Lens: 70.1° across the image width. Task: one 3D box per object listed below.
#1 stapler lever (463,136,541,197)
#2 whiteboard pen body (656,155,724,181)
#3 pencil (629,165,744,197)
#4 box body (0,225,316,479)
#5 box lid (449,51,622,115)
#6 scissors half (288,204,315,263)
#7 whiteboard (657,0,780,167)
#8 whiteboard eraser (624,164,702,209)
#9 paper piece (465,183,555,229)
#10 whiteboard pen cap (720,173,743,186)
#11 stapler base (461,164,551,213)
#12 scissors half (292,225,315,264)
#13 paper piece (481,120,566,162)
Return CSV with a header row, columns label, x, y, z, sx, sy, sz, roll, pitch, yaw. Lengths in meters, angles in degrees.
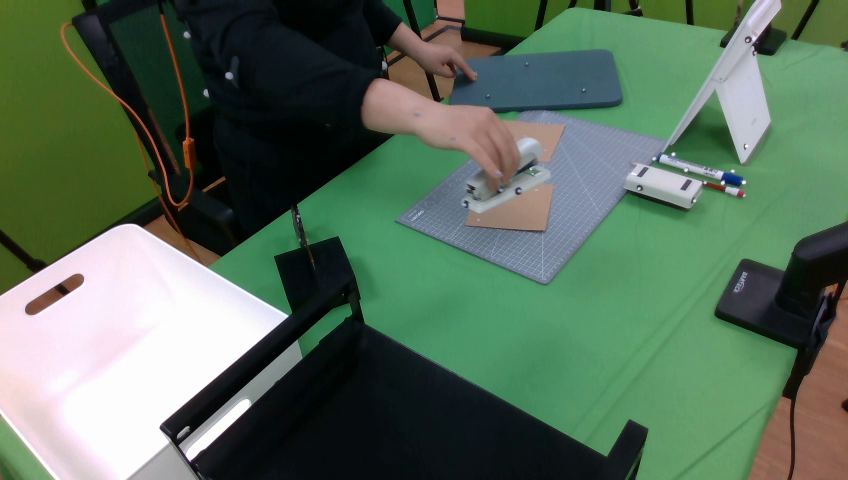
label,x,y,z,sx,sy,sz,roll,pitch,yaw
stapler lever,0.101,-0.096,0.776,0.118,0.040,0.026,-29,32,-23
whiteboard pen body,0.475,-0.123,1.052,0.139,0.017,0.017,24,49,32
pencil,0.447,-0.103,1.038,0.192,0.012,0.012,21,48,29
box body,-0.339,0.162,0.728,0.361,0.161,0.255,23,48,31
box lid,0.250,-0.358,1.370,0.371,0.015,0.262,-1,40,9
scissors half,-0.191,-0.010,0.944,0.013,0.040,0.173,-17,38,-15
whiteboard,0.571,-0.272,1.038,0.143,0.306,0.218,37,54,17
whiteboard eraser,0.396,-0.087,1.003,0.112,0.042,0.056,22,47,31
paper piece,0.149,-0.062,1.035,0.137,0.009,0.136,5,38,16
whiteboard pen cap,0.519,-0.103,1.020,0.033,0.018,0.018,23,49,30
stapler base,0.108,-0.076,0.790,0.131,0.024,0.041,-29,32,-23
scissors half,-0.188,0.007,0.954,0.013,0.040,0.174,-21,22,-12
paper piece,0.197,-0.199,1.189,0.135,0.004,0.135,10,44,22
